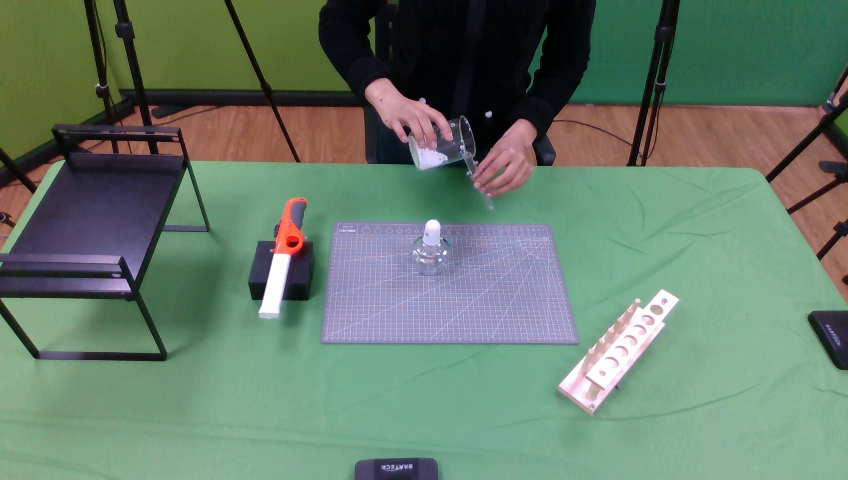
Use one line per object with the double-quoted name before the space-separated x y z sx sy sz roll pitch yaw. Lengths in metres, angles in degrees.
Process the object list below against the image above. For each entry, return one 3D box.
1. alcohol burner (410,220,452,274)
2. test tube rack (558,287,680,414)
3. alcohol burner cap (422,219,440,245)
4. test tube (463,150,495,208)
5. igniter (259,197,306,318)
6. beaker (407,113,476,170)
"alcohol burner" 0.013 0.008 1.120 0.078 0.120 0.077 1 48 -1
"test tube rack" 0.327 0.170 1.009 0.066 0.085 0.242 36 54 27
"alcohol burner cap" 0.014 -0.018 1.094 0.034 0.048 0.033 5 44 -5
"test tube" 0.102 -0.108 1.116 0.017 0.151 0.017 -14 48 17
"igniter" -0.252 0.021 1.087 0.057 0.025 0.275 4 48 -2
"beaker" 0.028 -0.163 1.027 0.100 0.084 0.073 -17 51 -8
